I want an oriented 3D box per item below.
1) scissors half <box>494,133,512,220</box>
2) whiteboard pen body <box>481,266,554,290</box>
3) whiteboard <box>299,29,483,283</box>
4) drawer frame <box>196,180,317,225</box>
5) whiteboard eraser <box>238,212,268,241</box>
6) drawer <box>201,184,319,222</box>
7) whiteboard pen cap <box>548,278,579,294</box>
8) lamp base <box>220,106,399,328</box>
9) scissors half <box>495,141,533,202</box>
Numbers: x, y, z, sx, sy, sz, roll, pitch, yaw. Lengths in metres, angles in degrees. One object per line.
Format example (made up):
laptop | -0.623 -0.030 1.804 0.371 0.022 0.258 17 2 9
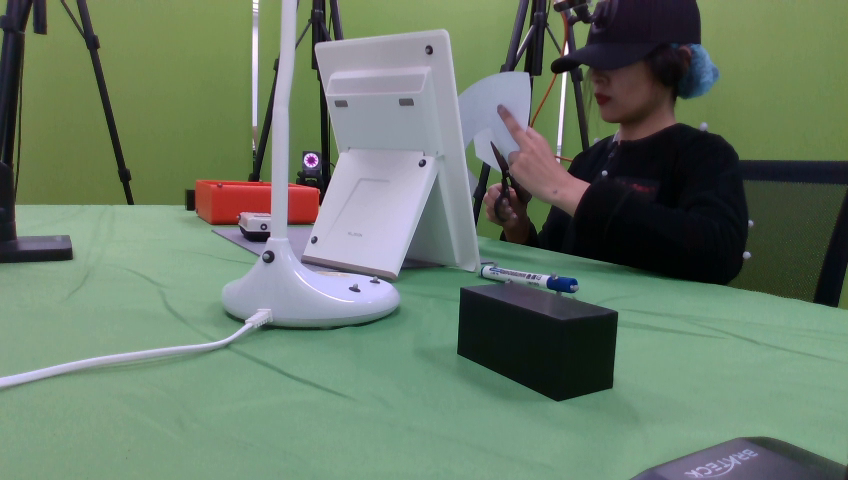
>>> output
scissors half | 0.142 -0.109 1.072 0.040 0.175 0.013 -29 42 -32
whiteboard pen body | 0.115 0.044 0.695 0.017 0.017 0.140 -3 5 -35
whiteboard | -0.074 -0.082 0.742 0.216 0.305 0.144 9 29 38
drawer frame | -0.359 -0.083 1.292 0.215 0.082 0.200 -2 10 -30
whiteboard eraser | -0.272 -0.024 0.998 0.056 0.042 0.112 -2 9 -24
drawer | -0.353 -0.082 1.295 0.213 0.073 0.193 -2 10 -28
whiteboard pen cap | 0.148 0.049 0.647 0.018 0.018 0.033 -3 3 -35
lamp base | -0.102 -0.023 0.531 0.160 0.180 0.179 4 10 10
scissors half | 0.159 -0.124 1.080 0.012 0.040 0.176 36 -5 41
